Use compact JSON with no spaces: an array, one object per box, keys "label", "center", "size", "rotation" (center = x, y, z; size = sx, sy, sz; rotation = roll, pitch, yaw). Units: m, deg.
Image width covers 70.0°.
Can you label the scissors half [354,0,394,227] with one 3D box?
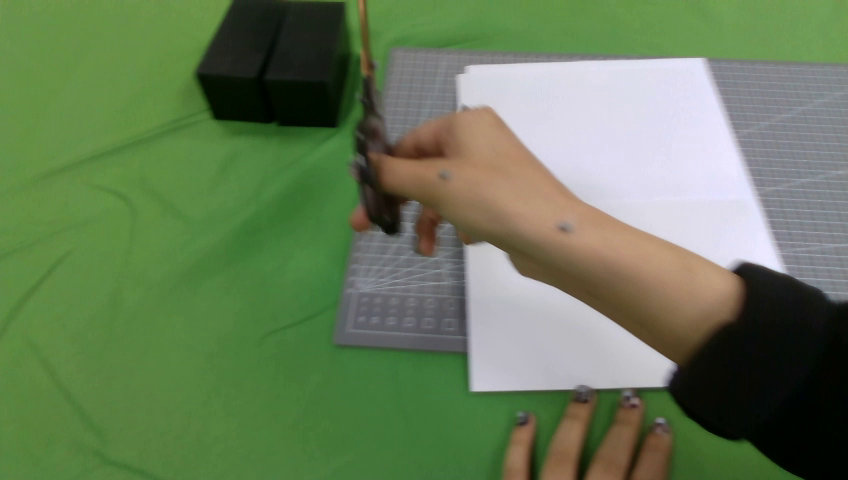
[{"label":"scissors half","center":[-0.031,-0.092,0.346],"size":[0.013,0.040,0.174],"rotation":[-8,70,10]}]

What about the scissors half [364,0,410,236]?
[{"label":"scissors half","center":[-0.026,-0.089,0.365],"size":[0.013,0.040,0.175],"rotation":[-9,87,16]}]
